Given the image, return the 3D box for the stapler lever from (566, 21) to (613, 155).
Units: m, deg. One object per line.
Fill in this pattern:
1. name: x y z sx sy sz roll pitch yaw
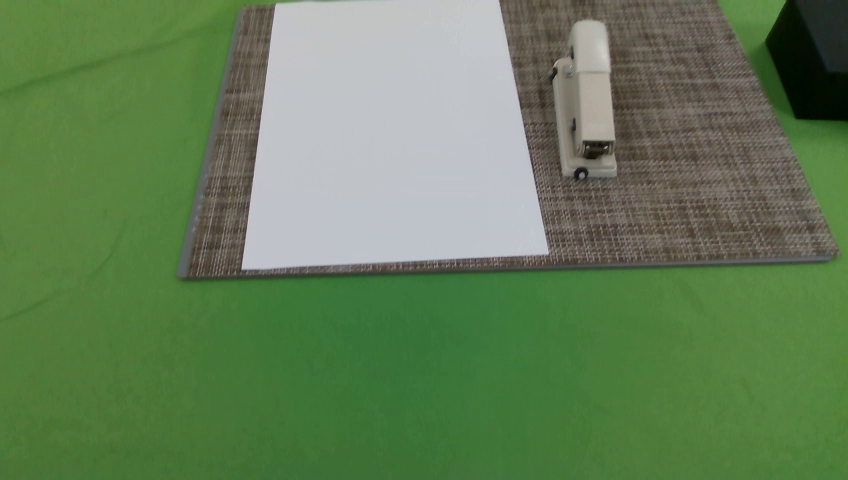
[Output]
1. stapler lever: 0.126 -0.118 0.461 0.027 0.040 0.117 0 57 4

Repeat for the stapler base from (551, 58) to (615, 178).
1. stapler base: 0.126 -0.106 0.483 0.041 0.024 0.129 0 58 4
